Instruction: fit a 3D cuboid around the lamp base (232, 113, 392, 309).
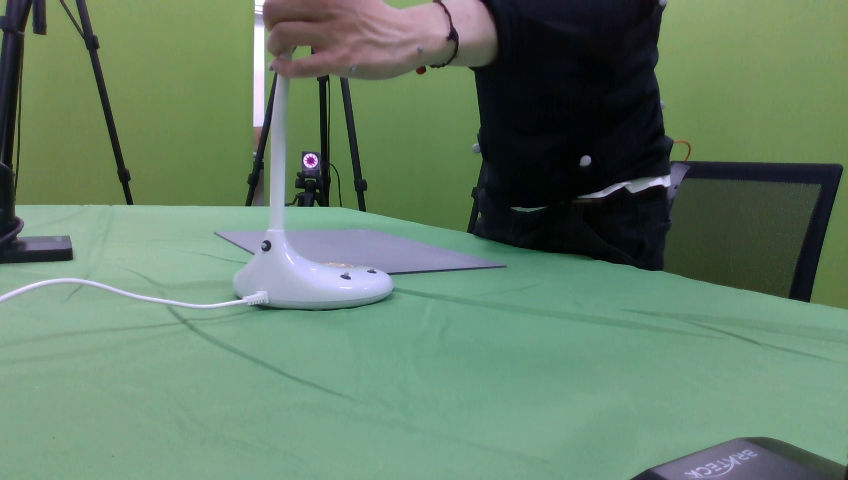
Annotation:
[{"bbox_3d":[-0.113,-0.031,0.594,0.160,0.180,0.179,4,10,18],"label":"lamp base"}]
